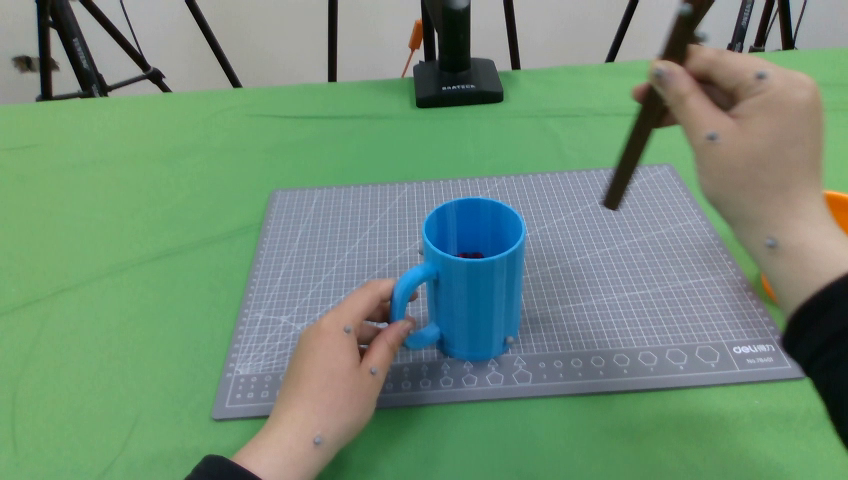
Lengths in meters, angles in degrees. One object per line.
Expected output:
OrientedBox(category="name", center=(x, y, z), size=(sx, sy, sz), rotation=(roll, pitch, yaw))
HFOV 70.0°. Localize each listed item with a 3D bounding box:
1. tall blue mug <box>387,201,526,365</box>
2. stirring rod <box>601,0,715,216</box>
OrientedBox(category="tall blue mug", center=(0.030, 0.043, 0.464), size=(0.077, 0.109, 0.107), rotation=(17, 44, 22))
OrientedBox(category="stirring rod", center=(0.139, -0.082, 0.363), size=(0.014, 0.177, 0.006), rotation=(26, 47, 17))
